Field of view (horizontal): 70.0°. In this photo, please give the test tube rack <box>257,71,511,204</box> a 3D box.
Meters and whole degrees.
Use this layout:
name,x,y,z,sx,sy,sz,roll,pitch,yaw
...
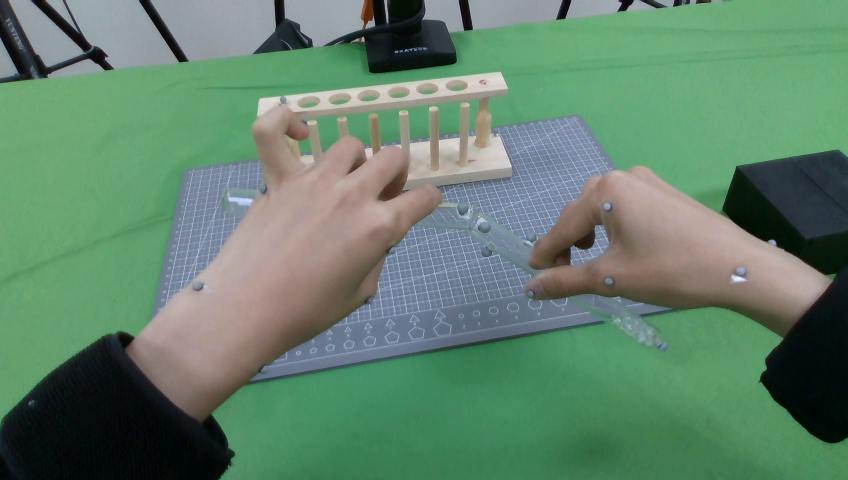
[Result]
name,x,y,z,sx,sy,sz,roll,pitch,yaw
test tube rack,-0.037,-0.104,0.611,0.242,0.086,0.066,-7,43,-3

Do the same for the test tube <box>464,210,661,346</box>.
name,x,y,z,sx,sy,sz,roll,pitch,yaw
test tube,0.088,0.026,0.369,0.151,0.017,0.017,32,42,-16

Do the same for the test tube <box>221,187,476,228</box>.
name,x,y,z,sx,sy,sz,roll,pitch,yaw
test tube,-0.045,-0.019,0.353,0.150,0.017,0.017,4,44,5
